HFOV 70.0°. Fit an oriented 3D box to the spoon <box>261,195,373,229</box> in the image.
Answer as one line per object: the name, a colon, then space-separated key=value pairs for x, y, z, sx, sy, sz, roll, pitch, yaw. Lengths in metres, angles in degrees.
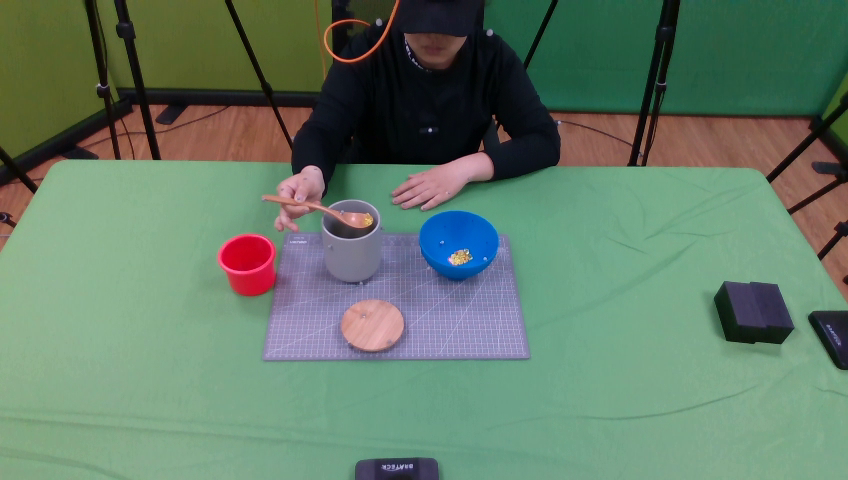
spoon: x=-0.182 y=-0.053 z=1.041 sx=0.194 sy=0.022 sz=0.041 roll=16 pitch=40 yaw=-20

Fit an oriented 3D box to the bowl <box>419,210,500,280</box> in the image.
bowl: x=0.062 y=0.022 z=1.141 sx=0.151 sy=0.077 sz=0.150 roll=2 pitch=46 yaw=-2

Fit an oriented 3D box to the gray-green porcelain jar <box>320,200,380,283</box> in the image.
gray-green porcelain jar: x=-0.133 y=0.007 z=1.106 sx=0.106 sy=0.127 sz=0.105 roll=2 pitch=46 yaw=-2

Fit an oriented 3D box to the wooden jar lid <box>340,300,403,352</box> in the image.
wooden jar lid: x=-0.090 y=0.150 z=1.046 sx=0.108 sy=0.021 sz=0.107 roll=3 pitch=47 yaw=-3
